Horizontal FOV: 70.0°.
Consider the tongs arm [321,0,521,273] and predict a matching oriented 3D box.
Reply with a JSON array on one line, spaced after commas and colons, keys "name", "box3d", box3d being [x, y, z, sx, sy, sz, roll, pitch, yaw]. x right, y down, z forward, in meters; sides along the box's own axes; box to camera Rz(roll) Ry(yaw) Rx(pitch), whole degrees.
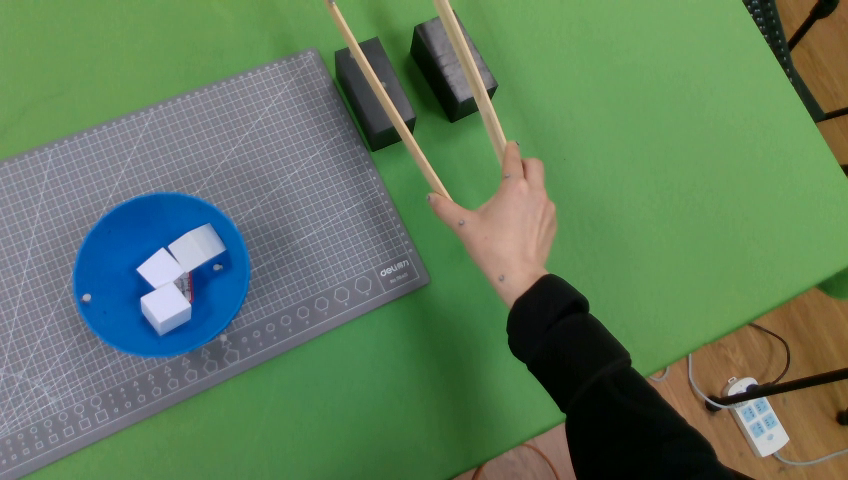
[{"name": "tongs arm", "box3d": [-0.020, -0.133, 0.590, 0.051, 0.026, 0.383, -25, 82, -16]}]

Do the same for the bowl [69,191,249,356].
[{"name": "bowl", "box3d": [-0.238, 0.037, 0.574, 0.152, 0.077, 0.150, 2, 77, -8]}]

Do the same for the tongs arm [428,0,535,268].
[{"name": "tongs arm", "box3d": [0.037, -0.158, 0.606, 0.028, 0.028, 0.386, -17, 80, -18]}]
